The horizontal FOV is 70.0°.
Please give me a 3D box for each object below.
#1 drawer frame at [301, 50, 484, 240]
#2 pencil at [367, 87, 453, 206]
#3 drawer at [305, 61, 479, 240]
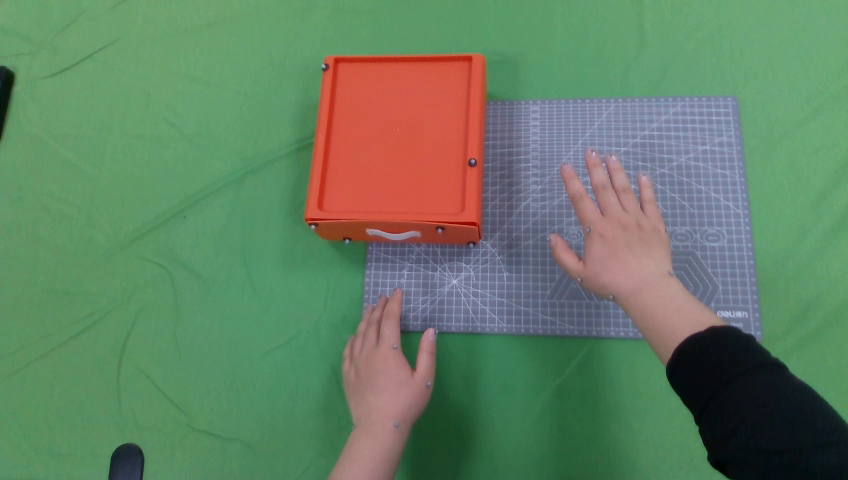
[{"bbox_3d":[-0.031,-0.113,0.728,0.201,0.083,0.212,0,74,8],"label":"drawer frame"},{"bbox_3d":[-0.018,-0.118,0.756,0.012,0.012,0.193,-33,76,-3],"label":"pencil"},{"bbox_3d":[-0.030,-0.107,0.728,0.194,0.074,0.210,1,73,8],"label":"drawer"}]
